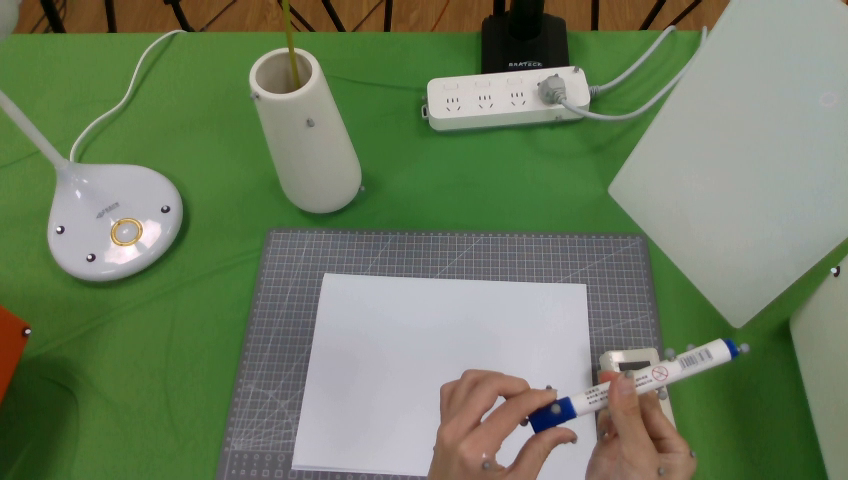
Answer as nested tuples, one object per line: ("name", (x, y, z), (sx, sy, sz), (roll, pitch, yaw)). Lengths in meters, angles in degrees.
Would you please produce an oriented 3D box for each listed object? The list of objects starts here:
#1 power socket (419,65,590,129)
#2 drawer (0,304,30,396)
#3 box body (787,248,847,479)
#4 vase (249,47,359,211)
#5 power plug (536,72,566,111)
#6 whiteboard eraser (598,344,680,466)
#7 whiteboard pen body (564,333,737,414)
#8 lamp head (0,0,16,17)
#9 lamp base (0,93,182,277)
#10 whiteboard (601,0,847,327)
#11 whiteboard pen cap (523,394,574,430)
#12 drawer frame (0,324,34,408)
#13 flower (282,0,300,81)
("power socket", (0.107, -0.189, 0.797), (0.227, 0.033, 0.071), (-4, 62, 0))
("drawer", (-0.519, 0.148, 0.565), (0.211, 0.074, 0.193), (4, 62, 5))
("box body", (0.490, 0.183, 0.499), (0.254, 0.162, 0.361), (0, 61, 3))
("vase", (-0.133, -0.117, 0.675), (0.098, 0.202, 0.097), (-2, 60, 4))
("power plug", (0.158, -0.179, 0.763), (0.035, 0.053, 0.072), (5, 63, 6))
("whiteboard eraser", (0.208, 0.160, 0.592), (0.055, 0.042, 0.111), (-3, 61, -1))
("whiteboard pen body", (0.141, 0.095, 0.412), (0.141, 0.017, 0.017), (-23, 61, 5))
("lamp head", (-0.355, -0.206, 0.415), (0.124, 0.112, 0.112), (41, 65, -19))
("lamp base", (-0.389, -0.071, 0.673), (0.178, 0.182, 0.160), (31, 66, 22))
("whiteboard", (0.364, -0.096, 0.613), (0.144, 0.307, 0.215), (-18, 59, -29))
("whiteboard pen cap", (0.086, 0.118, 0.419), (0.033, 0.018, 0.018), (-22, 61, 3))
("drawer frame", (-0.525, 0.150, 0.567), (0.213, 0.083, 0.200), (4, 62, 3))
("flower", (-0.130, -0.172, 0.611), (0.038, 0.365, 0.043), (-10, 43, -11))
